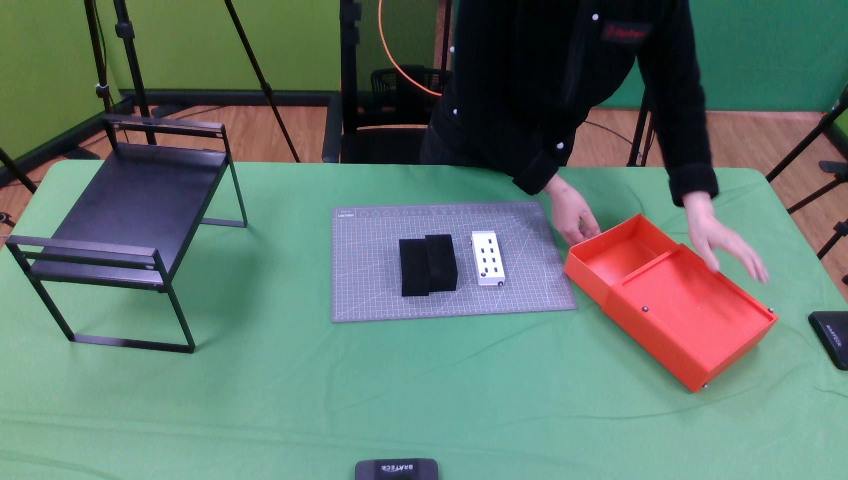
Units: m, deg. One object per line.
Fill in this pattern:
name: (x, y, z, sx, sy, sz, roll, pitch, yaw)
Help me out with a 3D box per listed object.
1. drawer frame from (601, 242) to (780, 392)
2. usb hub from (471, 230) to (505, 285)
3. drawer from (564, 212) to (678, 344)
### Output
drawer frame: (0.462, 0.125, 1.065, 0.202, 0.083, 0.212, -26, 54, -26)
usb hub: (0.121, 0.033, 1.168, 0.049, 0.025, 0.124, -1, 46, -5)
drawer: (0.404, 0.066, 1.124, 0.194, 0.073, 0.210, -24, 53, -25)
